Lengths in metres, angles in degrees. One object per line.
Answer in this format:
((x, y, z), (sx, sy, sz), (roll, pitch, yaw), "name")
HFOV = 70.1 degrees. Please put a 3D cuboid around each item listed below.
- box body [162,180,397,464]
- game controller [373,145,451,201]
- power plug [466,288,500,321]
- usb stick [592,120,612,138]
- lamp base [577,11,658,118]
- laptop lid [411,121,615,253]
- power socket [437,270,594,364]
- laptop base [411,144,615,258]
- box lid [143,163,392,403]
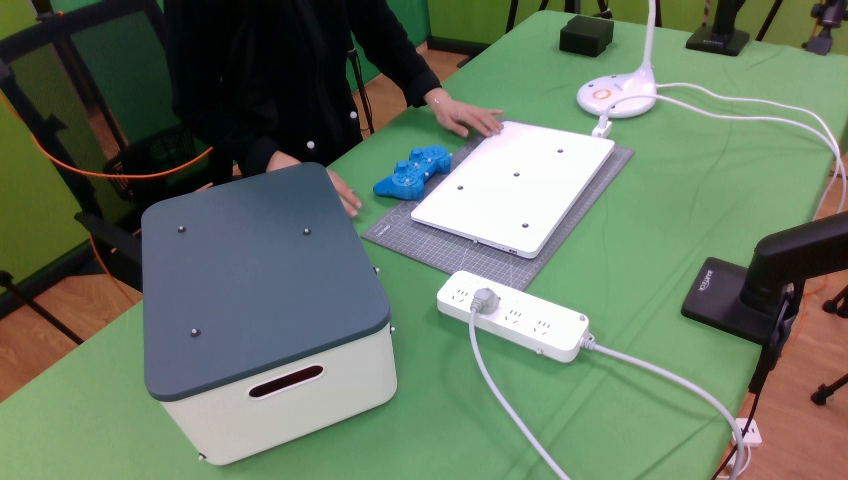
((-0.205, 0.080, 0.802), (0.255, 0.161, 0.361), (-18, 41, -13), "box body")
((-0.018, -0.130, 1.111), (0.096, 0.052, 0.155), (22, 48, 26), "game controller")
((0.072, 0.093, 0.813), (0.073, 0.053, 0.035), (-37, 49, -28), "power plug")
((0.335, -0.203, 1.149), (0.021, 0.027, 0.059), (25, 53, 26), "usb stick")
((0.406, -0.363, 1.223), (0.180, 0.181, 0.159), (-20, 42, -18), "lamp base")
((0.164, -0.112, 1.068), (0.240, 0.013, 0.357), (19, 46, 31), "laptop lid")
((0.118, 0.102, 0.830), (0.225, 0.033, 0.072), (20, 48, 28), "power socket")
((0.167, -0.102, 1.074), (0.234, 0.023, 0.355), (16, 45, 30), "laptop base")
((-0.212, 0.025, 0.753), (0.264, 0.015, 0.368), (-18, 40, -13), "box lid")
